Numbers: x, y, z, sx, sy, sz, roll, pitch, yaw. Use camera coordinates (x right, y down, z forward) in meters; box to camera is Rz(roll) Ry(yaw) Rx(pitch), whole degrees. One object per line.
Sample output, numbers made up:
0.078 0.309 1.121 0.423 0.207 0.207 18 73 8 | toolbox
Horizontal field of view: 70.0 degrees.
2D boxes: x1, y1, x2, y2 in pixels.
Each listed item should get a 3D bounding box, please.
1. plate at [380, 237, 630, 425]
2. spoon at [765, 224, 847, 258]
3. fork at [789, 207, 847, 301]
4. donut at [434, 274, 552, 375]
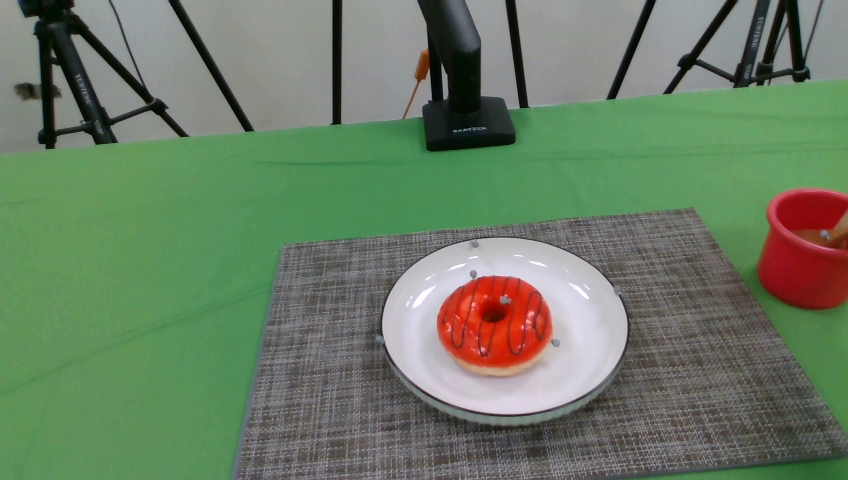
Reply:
0.068 0.075 0.522 0.209 0.038 0.207 -3 39 3 | plate
0.366 -0.012 0.488 0.041 0.193 0.022 -41 95 -24 | spoon
0.389 -0.037 0.542 0.028 0.019 0.207 32 96 42 | fork
0.058 0.070 0.511 0.099 0.049 0.098 -4 42 4 | donut
